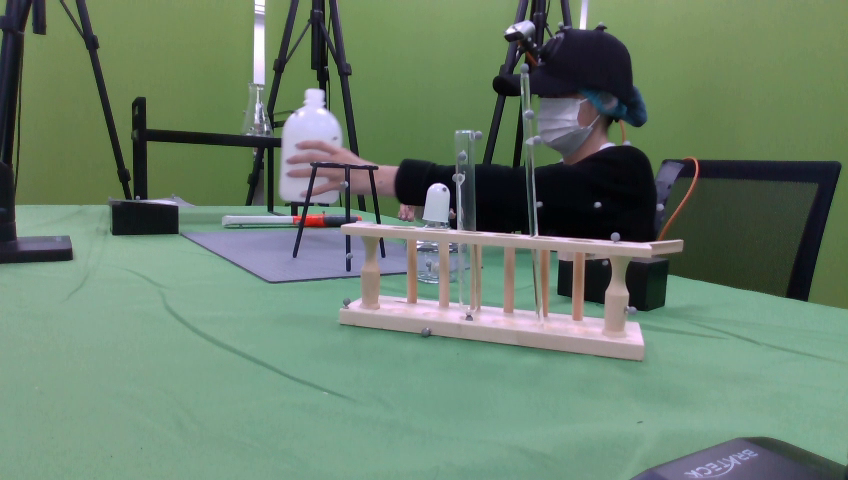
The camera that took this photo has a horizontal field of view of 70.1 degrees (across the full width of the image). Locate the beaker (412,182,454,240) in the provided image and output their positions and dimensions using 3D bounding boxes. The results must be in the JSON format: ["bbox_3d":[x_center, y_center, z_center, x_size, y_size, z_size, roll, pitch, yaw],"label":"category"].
[{"bbox_3d":[0.018,-0.053,1.101,0.083,0.100,0.074,10,11,43],"label":"beaker"}]

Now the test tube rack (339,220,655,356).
[{"bbox_3d":[0.056,0.032,0.495,0.242,0.085,0.067,4,7,15],"label":"test tube rack"}]

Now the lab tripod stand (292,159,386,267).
[{"bbox_3d":[-0.105,-0.039,0.798,0.148,0.131,0.148,2,5,0],"label":"lab tripod stand"}]

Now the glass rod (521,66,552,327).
[{"bbox_3d":[0.085,-0.028,0.454,0.008,0.199,0.008,-7,10,2],"label":"glass rod"}]

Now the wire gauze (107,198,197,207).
[{"bbox_3d":[-0.462,-0.064,1.023,0.126,0.011,0.121,-2,7,-32],"label":"wire gauze"}]

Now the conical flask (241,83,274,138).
[{"bbox_3d":[-0.384,-0.297,1.393,0.075,0.122,0.075,2,7,0],"label":"conical flask"}]

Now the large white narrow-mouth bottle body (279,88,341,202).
[{"bbox_3d":[-0.196,-0.165,1.050,0.102,0.194,0.102,3,4,0],"label":"large white narrow-mouth bottle body"}]

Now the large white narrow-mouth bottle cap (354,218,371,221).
[{"bbox_3d":[-0.120,-0.029,1.184,0.038,0.024,0.037,2,8,0],"label":"large white narrow-mouth bottle cap"}]

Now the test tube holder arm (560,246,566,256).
[{"bbox_3d":[0.173,0.007,0.611,0.088,0.015,0.010,-3,9,-30],"label":"test tube holder arm"}]

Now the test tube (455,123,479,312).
[{"bbox_3d":[0.034,-0.016,0.476,0.017,0.150,0.017,-2,10,1],"label":"test tube"}]

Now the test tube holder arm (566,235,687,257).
[{"bbox_3d":[0.215,0.006,0.629,0.179,0.015,0.013,-3,9,-30],"label":"test tube holder arm"}]

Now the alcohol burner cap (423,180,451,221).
[{"bbox_3d":[0.017,-0.047,0.711,0.034,0.048,0.034,8,5,0],"label":"alcohol burner cap"}]

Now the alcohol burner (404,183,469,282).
[{"bbox_3d":[0.015,-0.011,0.715,0.078,0.119,0.078,0,7,0],"label":"alcohol burner"}]

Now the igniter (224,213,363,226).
[{"bbox_3d":[-0.255,-0.041,1.210,0.278,0.025,0.057,-2,-2,-31],"label":"igniter"}]
